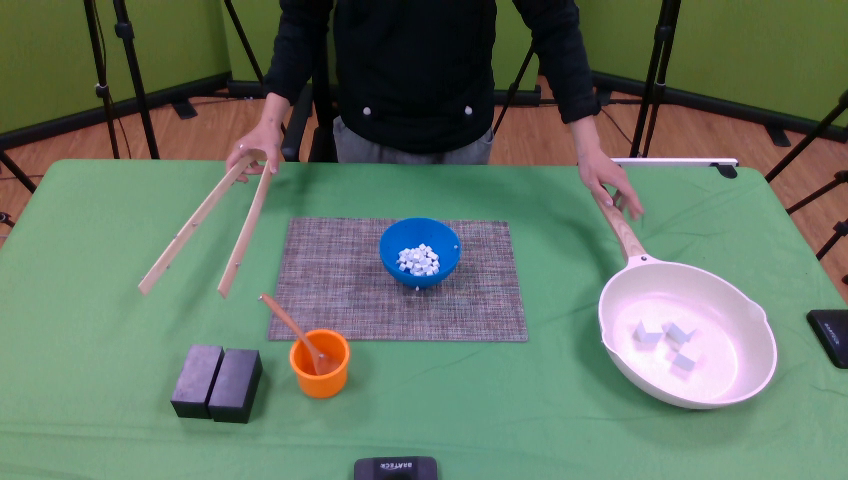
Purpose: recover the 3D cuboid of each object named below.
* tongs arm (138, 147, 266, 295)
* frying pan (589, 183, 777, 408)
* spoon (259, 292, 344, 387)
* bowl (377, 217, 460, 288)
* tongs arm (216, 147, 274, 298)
[{"bbox_3d":[-0.394,-0.048,1.112,0.050,0.027,0.383,3,45,17],"label":"tongs arm"},{"bbox_3d":[0.412,0.079,1.096,0.307,0.103,0.484,-8,56,-13],"label":"frying pan"},{"bbox_3d":[-0.191,0.155,0.947,0.041,0.194,0.021,-45,21,-29],"label":"spoon"},{"bbox_3d":[-0.012,0.036,1.118,0.151,0.077,0.150,2,46,-2],"label":"bowl"},{"bbox_3d":[-0.318,-0.047,1.095,0.028,0.028,0.385,-9,43,11],"label":"tongs arm"}]
